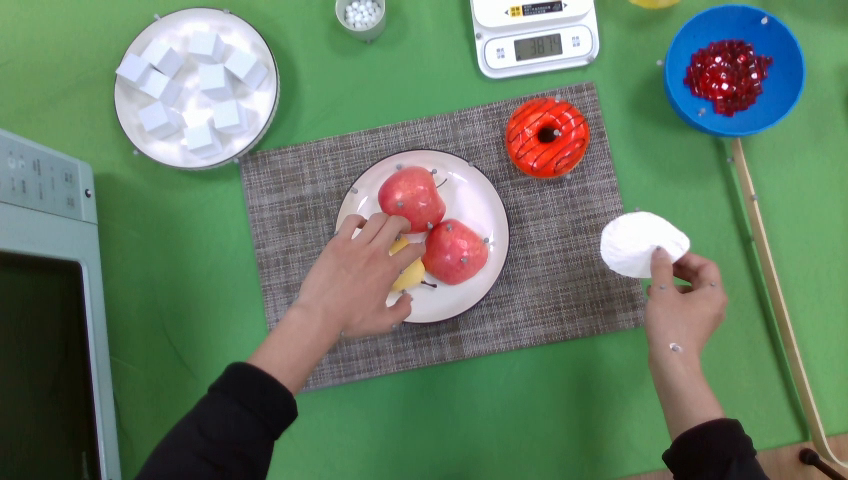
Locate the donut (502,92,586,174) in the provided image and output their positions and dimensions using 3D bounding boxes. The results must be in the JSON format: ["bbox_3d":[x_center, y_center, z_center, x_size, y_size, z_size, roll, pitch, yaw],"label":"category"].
[{"bbox_3d":[0.141,-0.127,0.718,0.099,0.048,0.099,-1,86,6],"label":"donut"}]

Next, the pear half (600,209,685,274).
[{"bbox_3d":[0.235,-0.001,0.652,0.087,0.031,0.071,-1,108,27],"label":"pear half"}]

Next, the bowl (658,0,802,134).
[{"bbox_3d":[0.338,-0.187,0.697,0.151,0.077,0.151,0,85,4],"label":"bowl"}]

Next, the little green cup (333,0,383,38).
[{"bbox_3d":[-0.079,-0.284,0.754,0.061,0.039,0.061,0,84,4],"label":"little green cup"}]

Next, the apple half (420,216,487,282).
[{"bbox_3d":[0.032,0.011,0.710,0.081,0.033,0.081,-1,83,5],"label":"apple half"}]

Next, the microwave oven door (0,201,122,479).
[{"bbox_3d":[-0.403,0.140,0.614,0.039,0.244,0.354,-9,83,3],"label":"microwave oven door"}]

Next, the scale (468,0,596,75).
[{"bbox_3d":[0.127,-0.310,0.746,0.148,0.031,0.200,-7,85,4],"label":"scale"}]

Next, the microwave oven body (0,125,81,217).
[{"bbox_3d":[-0.552,0.122,0.631,0.326,0.261,0.440,-9,84,2],"label":"microwave oven body"}]

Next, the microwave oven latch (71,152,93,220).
[{"bbox_3d":[-0.425,-0.065,0.738,0.030,0.029,0.079,-8,85,3],"label":"microwave oven latch"}]

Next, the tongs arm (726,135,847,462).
[{"bbox_3d":[0.417,0.061,0.690,0.051,0.026,0.384,-12,85,-1],"label":"tongs arm"}]

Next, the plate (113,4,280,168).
[{"bbox_3d":[-0.279,-0.189,0.759,0.207,0.039,0.207,0,84,4],"label":"plate"}]

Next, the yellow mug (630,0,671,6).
[{"bbox_3d":[0.268,-0.354,0.723,0.100,0.064,0.130,-44,83,-1],"label":"yellow mug"}]

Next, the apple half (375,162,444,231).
[{"bbox_3d":[-0.020,-0.051,0.707,0.074,0.053,0.080,-20,86,5],"label":"apple half"}]

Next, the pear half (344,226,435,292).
[{"bbox_3d":[-0.036,0.028,0.703,0.110,0.056,0.076,22,88,-3],"label":"pear half"}]

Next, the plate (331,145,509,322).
[{"bbox_3d":[-0.004,-0.007,0.719,0.209,0.038,0.208,0,84,4],"label":"plate"}]
